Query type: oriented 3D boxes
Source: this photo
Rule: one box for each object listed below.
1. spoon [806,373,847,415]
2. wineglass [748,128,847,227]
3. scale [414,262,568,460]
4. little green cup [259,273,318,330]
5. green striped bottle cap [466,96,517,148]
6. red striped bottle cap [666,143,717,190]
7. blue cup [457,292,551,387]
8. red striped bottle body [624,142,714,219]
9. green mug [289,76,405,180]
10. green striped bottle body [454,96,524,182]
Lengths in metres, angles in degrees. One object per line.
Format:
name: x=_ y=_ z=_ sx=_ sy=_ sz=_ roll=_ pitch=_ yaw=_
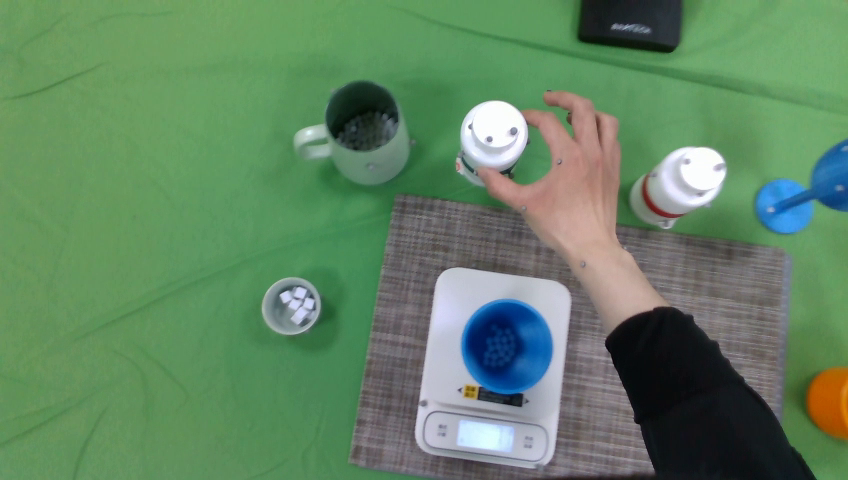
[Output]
spoon: x=0.483 y=0.180 z=0.593 sx=0.022 sy=0.192 sz=0.041 roll=24 pitch=87 yaw=-40
wineglass: x=0.408 y=-0.061 z=0.619 sx=0.074 sy=0.173 sz=0.073 roll=0 pitch=80 yaw=1
scale: x=0.073 y=0.128 z=0.654 sx=0.148 sy=0.031 sz=0.200 roll=8 pitch=81 yaw=1
little green cup: x=-0.144 y=0.068 z=0.662 sx=0.061 sy=0.039 sz=0.061 roll=0 pitch=80 yaw=-2
green striped bottle cap: x=0.060 y=-0.105 z=0.539 sx=0.044 sy=0.020 sz=0.044 roll=0 pitch=81 yaw=-1
red striped bottle cap: x=0.262 y=-0.073 z=0.593 sx=0.044 sy=0.018 sz=0.044 roll=0 pitch=78 yaw=0
blue cup: x=0.071 y=0.096 z=0.593 sx=0.093 sy=0.100 sz=0.092 roll=0 pitch=83 yaw=-2
red striped bottle body: x=0.263 y=-0.063 z=0.646 sx=0.063 sy=0.120 sz=0.063 roll=0 pitch=80 yaw=0
green mug: x=-0.084 y=-0.116 z=0.660 sx=0.125 sy=0.105 sz=0.092 roll=-14 pitch=81 yaw=-2
green striped bottle body: x=0.062 y=-0.099 z=0.590 sx=0.063 sy=0.119 sz=0.063 roll=0 pitch=83 yaw=1
